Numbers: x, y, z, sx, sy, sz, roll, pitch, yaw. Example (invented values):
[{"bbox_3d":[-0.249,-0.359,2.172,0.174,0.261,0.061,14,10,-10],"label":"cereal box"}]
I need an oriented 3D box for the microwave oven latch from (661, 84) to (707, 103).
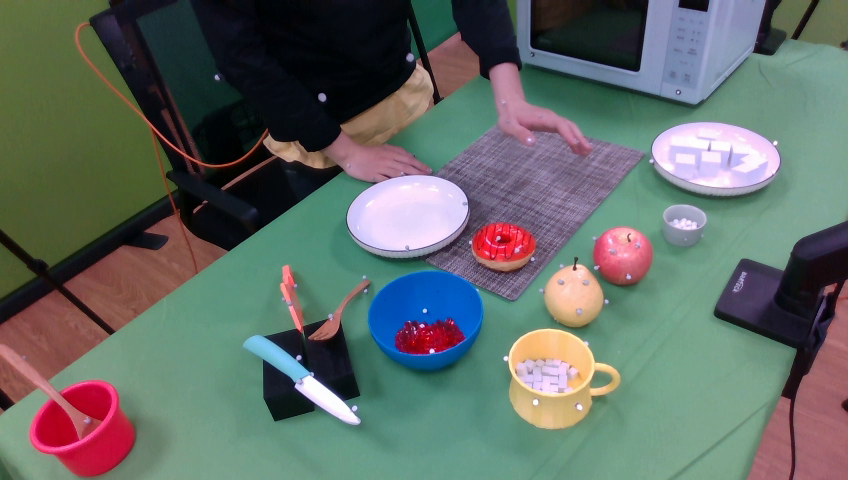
[{"bbox_3d":[0.517,-0.296,1.204,0.078,0.029,0.030,27,52,35],"label":"microwave oven latch"}]

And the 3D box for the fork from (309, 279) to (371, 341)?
[{"bbox_3d":[-0.109,0.093,0.832,0.028,0.018,0.207,-4,19,15],"label":"fork"}]

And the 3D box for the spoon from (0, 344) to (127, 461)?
[{"bbox_3d":[-0.433,0.191,0.721,0.194,0.021,0.042,47,53,-6],"label":"spoon"}]

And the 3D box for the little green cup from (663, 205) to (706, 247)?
[{"bbox_3d":[0.396,-0.020,0.926,0.061,0.039,0.061,-4,40,4],"label":"little green cup"}]

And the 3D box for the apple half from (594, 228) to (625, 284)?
[{"bbox_3d":[0.259,0.026,0.864,0.033,0.081,0.081,-3,40,1],"label":"apple half"}]

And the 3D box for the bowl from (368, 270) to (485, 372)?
[{"bbox_3d":[0.007,0.118,0.791,0.151,0.077,0.150,-5,40,4],"label":"bowl"}]

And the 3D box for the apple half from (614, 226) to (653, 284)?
[{"bbox_3d":[0.298,0.023,0.864,0.053,0.075,0.080,-3,37,1],"label":"apple half"}]

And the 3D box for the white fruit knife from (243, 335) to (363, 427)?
[{"bbox_3d":[-0.148,0.167,0.729,0.206,0.016,0.027,27,80,31],"label":"white fruit knife"}]

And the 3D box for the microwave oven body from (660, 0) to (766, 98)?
[{"bbox_3d":[0.472,-0.513,1.317,0.438,0.261,0.327,26,51,34],"label":"microwave oven body"}]

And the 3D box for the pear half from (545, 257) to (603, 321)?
[{"bbox_3d":[0.197,0.056,0.811,0.076,0.110,0.055,-14,41,-13],"label":"pear half"}]

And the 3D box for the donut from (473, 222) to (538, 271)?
[{"bbox_3d":[0.123,0.008,0.923,0.099,0.048,0.098,-4,38,4],"label":"donut"}]

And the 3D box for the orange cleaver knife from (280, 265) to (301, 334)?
[{"bbox_3d":[-0.188,0.081,0.862,0.012,0.077,0.210,-20,12,-9],"label":"orange cleaver knife"}]

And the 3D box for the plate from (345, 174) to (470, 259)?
[{"bbox_3d":[-0.026,-0.036,1.004,0.209,0.038,0.208,-4,40,4],"label":"plate"}]

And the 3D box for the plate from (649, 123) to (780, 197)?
[{"bbox_3d":[0.497,-0.135,1.046,0.207,0.039,0.206,-4,40,4],"label":"plate"}]

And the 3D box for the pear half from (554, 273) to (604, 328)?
[{"bbox_3d":[0.208,0.085,0.791,0.071,0.088,0.031,-14,39,-15],"label":"pear half"}]

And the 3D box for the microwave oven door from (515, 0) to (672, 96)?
[{"bbox_3d":[0.343,-0.455,1.259,0.353,0.245,0.039,26,51,33],"label":"microwave oven door"}]

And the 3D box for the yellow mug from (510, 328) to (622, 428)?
[{"bbox_3d":[0.168,0.164,0.722,0.130,0.064,0.099,0,40,8],"label":"yellow mug"}]
